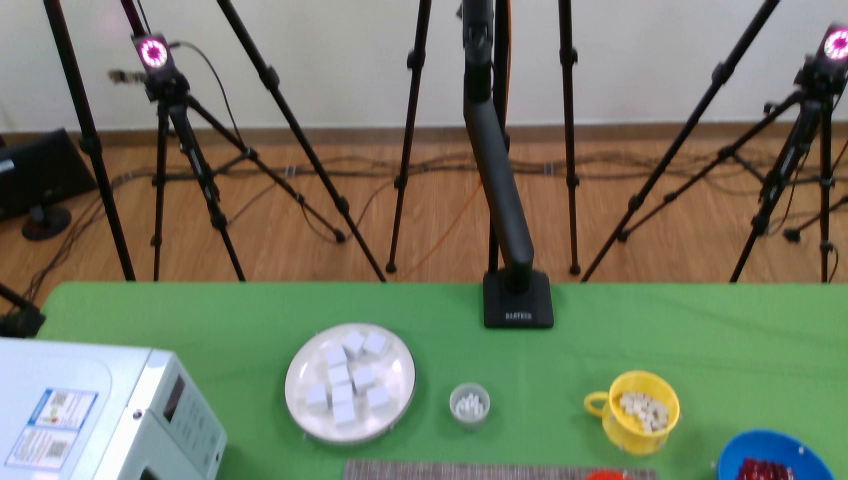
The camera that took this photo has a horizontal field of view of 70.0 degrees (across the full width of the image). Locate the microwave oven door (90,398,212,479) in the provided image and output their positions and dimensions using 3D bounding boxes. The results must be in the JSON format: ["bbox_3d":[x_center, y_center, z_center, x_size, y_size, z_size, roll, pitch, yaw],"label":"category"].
[{"bbox_3d":[-0.342,0.388,0.666,0.039,0.246,0.352,3,49,6],"label":"microwave oven door"}]

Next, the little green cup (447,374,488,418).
[{"bbox_3d":[0.067,0.242,0.932,0.061,0.039,0.061,-2,49,2],"label":"little green cup"}]

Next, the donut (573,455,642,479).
[{"bbox_3d":[0.251,0.343,0.826,0.099,0.049,0.098,-3,49,4],"label":"donut"}]

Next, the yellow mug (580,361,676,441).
[{"bbox_3d":[0.301,0.237,0.906,0.130,0.064,0.099,8,50,11],"label":"yellow mug"}]

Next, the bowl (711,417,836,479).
[{"bbox_3d":[0.457,0.324,0.815,0.151,0.077,0.150,-1,50,2],"label":"bowl"}]

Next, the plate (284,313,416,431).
[{"bbox_3d":[-0.115,0.211,0.968,0.207,0.039,0.205,-1,49,2],"label":"plate"}]

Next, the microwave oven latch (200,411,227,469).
[{"bbox_3d":[-0.313,0.290,0.884,0.030,0.030,0.078,4,50,6],"label":"microwave oven latch"}]

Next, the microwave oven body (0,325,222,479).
[{"bbox_3d":[-0.482,0.353,0.711,0.326,0.262,0.437,3,50,5],"label":"microwave oven body"}]
